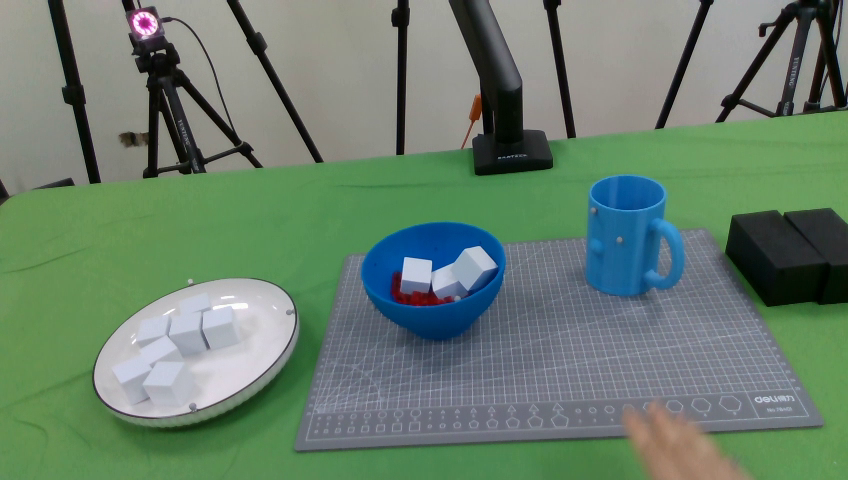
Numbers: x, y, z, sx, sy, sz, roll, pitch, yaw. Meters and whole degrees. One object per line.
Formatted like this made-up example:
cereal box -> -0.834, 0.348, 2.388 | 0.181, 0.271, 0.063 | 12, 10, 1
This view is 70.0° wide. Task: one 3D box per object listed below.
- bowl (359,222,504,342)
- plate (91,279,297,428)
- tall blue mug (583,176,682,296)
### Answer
bowl -> 0.012, 0.054, 0.640 | 0.151, 0.077, 0.150 | -5, 34, 4
plate -> -0.234, 0.117, 0.638 | 0.209, 0.038, 0.207 | -5, 34, 4
tall blue mug -> 0.226, 0.000, 0.647 | 0.106, 0.109, 0.077 | 15, 39, 30
